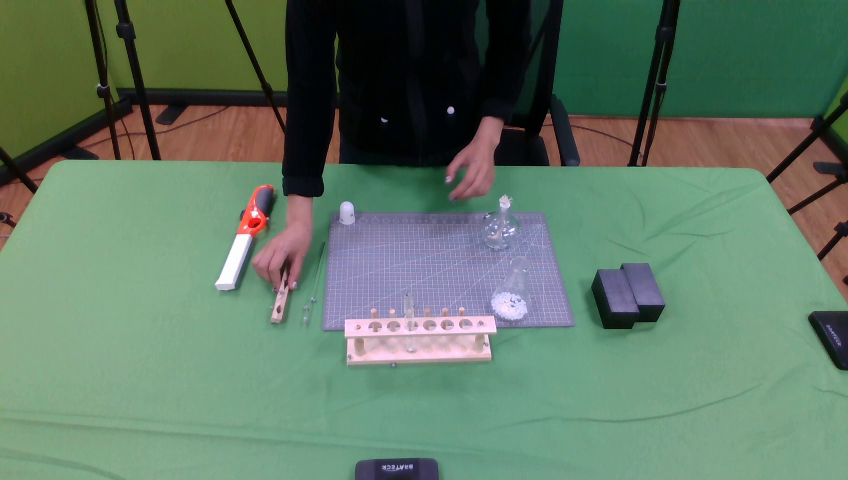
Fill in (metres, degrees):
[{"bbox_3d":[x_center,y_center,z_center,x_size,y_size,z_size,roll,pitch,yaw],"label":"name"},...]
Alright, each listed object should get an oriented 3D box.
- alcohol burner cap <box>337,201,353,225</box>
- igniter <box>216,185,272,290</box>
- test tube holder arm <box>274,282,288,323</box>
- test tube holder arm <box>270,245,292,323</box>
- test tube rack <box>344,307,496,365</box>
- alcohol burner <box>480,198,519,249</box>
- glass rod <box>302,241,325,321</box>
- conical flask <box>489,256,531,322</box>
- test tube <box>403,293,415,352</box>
[{"bbox_3d":[-0.159,-0.056,1.224,0.034,0.048,0.033,2,47,-2],"label":"alcohol burner cap"},{"bbox_3d":[-0.347,-0.014,1.182,0.057,0.025,0.275,-2,45,8],"label":"igniter"},{"bbox_3d":[-0.255,0.110,1.076,0.010,0.015,0.087,23,41,-22],"label":"test tube holder arm"},{"bbox_3d":[-0.260,0.076,1.105,0.013,0.015,0.177,22,41,-22],"label":"test tube holder arm"},{"bbox_3d":[-0.009,0.154,1.007,0.242,0.085,0.066,-1,46,-5],"label":"test tube rack"},{"bbox_3d":[0.150,-0.038,1.182,0.078,0.119,0.077,3,47,-3],"label":"alcohol burner"},{"bbox_3d":[-0.203,0.071,1.123,0.008,0.008,0.198,4,44,1],"label":"glass rod"},{"bbox_3d":[0.158,0.081,1.061,0.075,0.122,0.075,2,46,-2],"label":"conical flask"},{"bbox_3d":[-0.024,0.133,0.957,0.017,0.151,0.017,0,48,0],"label":"test tube"}]
